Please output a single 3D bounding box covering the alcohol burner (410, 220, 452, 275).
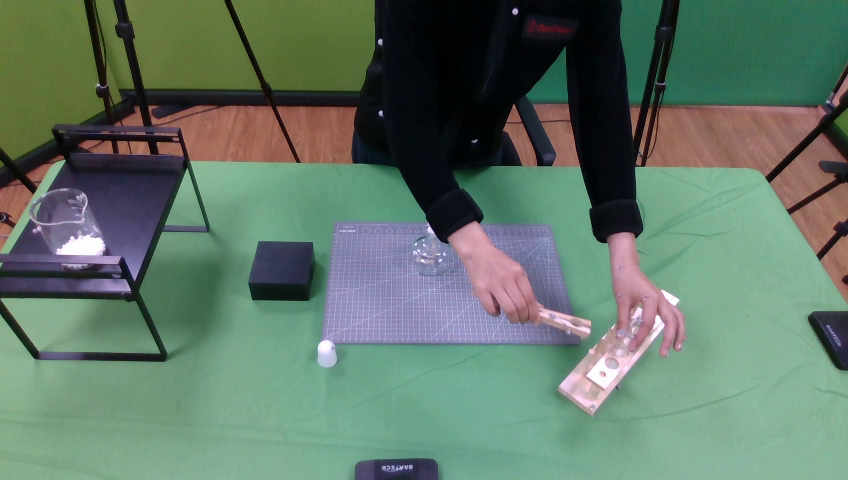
[{"bbox_3d":[0.013,0.008,1.119,0.078,0.120,0.077,1,47,-1],"label":"alcohol burner"}]

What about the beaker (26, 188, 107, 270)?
[{"bbox_3d":[-0.503,-0.012,0.867,0.084,0.101,0.074,23,49,17],"label":"beaker"}]

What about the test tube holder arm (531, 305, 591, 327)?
[{"bbox_3d":[0.196,0.112,0.873,0.088,0.015,0.010,14,43,2],"label":"test tube holder arm"}]

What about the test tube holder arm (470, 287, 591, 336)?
[{"bbox_3d":[0.152,0.102,0.872,0.178,0.015,0.013,18,42,6],"label":"test tube holder arm"}]

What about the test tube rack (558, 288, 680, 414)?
[{"bbox_3d":[0.327,0.171,1.008,0.066,0.085,0.242,35,54,27],"label":"test tube rack"}]

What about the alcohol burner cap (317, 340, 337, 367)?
[{"bbox_3d":[-0.161,0.183,0.994,0.034,0.048,0.033,2,47,-2],"label":"alcohol burner cap"}]

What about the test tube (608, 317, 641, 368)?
[{"bbox_3d":[0.308,0.167,0.941,0.017,0.151,0.017,0,49,0],"label":"test tube"}]
